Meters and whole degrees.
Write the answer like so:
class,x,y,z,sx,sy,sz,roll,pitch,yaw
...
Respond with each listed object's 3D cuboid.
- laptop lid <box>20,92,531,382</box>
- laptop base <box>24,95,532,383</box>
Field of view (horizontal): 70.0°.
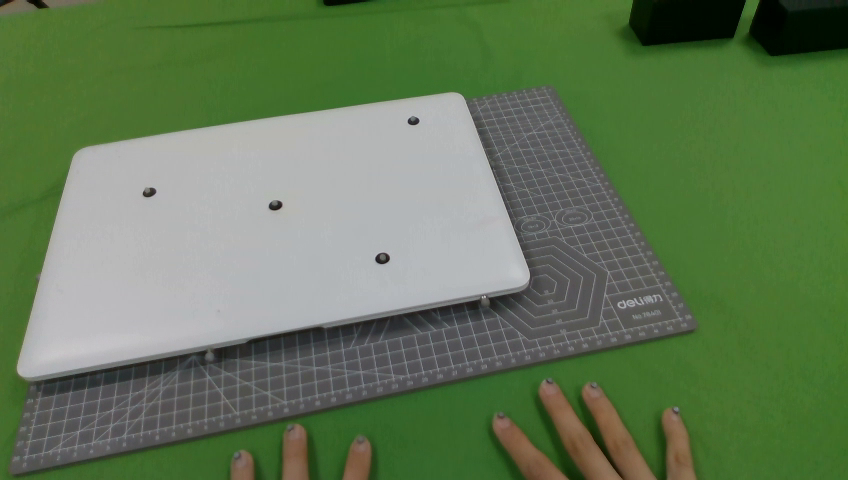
class,x,y,z,sx,sy,sz,roll,pitch,yaw
laptop lid,-0.115,-0.023,0.481,0.357,0.013,0.239,-9,51,-4
laptop base,-0.114,-0.017,0.492,0.355,0.023,0.233,-10,52,-5
